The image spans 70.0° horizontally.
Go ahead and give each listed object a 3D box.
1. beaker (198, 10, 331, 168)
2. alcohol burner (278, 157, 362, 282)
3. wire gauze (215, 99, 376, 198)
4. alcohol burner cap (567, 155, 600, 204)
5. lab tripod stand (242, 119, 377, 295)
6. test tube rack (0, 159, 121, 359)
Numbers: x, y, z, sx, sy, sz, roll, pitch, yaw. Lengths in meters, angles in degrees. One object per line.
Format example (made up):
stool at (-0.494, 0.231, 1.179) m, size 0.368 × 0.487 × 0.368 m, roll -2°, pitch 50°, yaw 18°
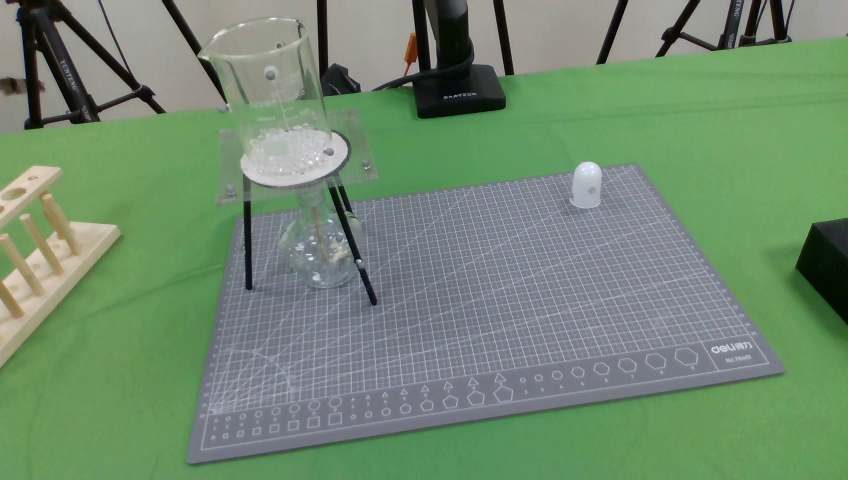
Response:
beaker at (-0.116, -0.113, 0.464) m, size 0.084 × 0.101 × 0.073 m, roll -12°, pitch 41°, yaw -6°
alcohol burner at (-0.097, -0.021, 0.547) m, size 0.078 × 0.120 × 0.077 m, roll -4°, pitch 39°, yaw 4°
wire gauze at (-0.108, -0.076, 0.496) m, size 0.125 × 0.011 × 0.120 m, roll -13°, pitch 39°, yaw -5°
alcohol burner cap at (0.166, -0.065, 0.624) m, size 0.034 × 0.048 × 0.033 m, roll -4°, pitch 40°, yaw 3°
lab tripod stand at (-0.103, -0.027, 0.539) m, size 0.148 × 0.133 × 0.147 m, roll -4°, pitch 42°, yaw 4°
test tube rack at (-0.388, 0.029, 0.548) m, size 0.066 × 0.086 × 0.240 m, roll 5°, pitch 41°, yaw 12°
